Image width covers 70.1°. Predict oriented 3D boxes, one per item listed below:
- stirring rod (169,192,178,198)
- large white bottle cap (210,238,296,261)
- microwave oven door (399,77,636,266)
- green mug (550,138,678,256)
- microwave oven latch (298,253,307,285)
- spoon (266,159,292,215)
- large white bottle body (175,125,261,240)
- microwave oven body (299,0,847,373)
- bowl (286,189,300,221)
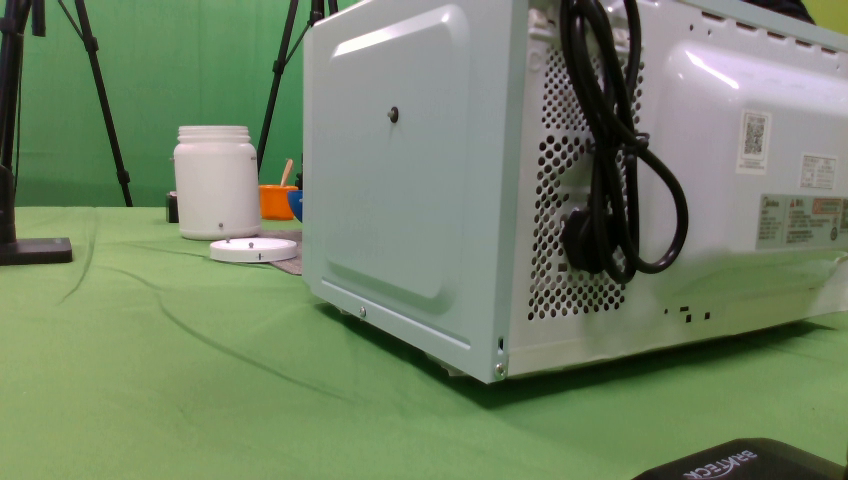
[{"bbox_3d":[-0.465,-0.098,1.283,0.014,0.006,0.177,42,22,17],"label":"stirring rod"},{"bbox_3d":[-0.236,0.012,0.839,0.115,0.018,0.115,2,7,0],"label":"large white bottle cap"},{"bbox_3d":[0.116,-0.103,0.875,0.354,0.243,0.039,7,8,35],"label":"microwave oven door"},{"bbox_3d":[0.177,-0.037,0.581,0.124,0.105,0.093,-2,-1,42],"label":"green mug"},{"bbox_3d":[-0.081,0.027,0.582,0.079,0.029,0.030,-1,7,-32],"label":"microwave oven latch"},{"bbox_3d":[-0.334,-0.127,1.423,0.041,0.193,0.022,0,-38,8],"label":"spoon"},{"bbox_3d":[-0.349,-0.100,1.025,0.131,0.184,0.130,-1,9,0],"label":"large white bottle body"},{"bbox_3d":[0.151,-0.055,0.543,0.444,0.260,0.324,-2,7,-33],"label":"microwave oven body"},{"bbox_3d":[-0.179,-0.051,1.115,0.151,0.077,0.151,3,8,0],"label":"bowl"}]
